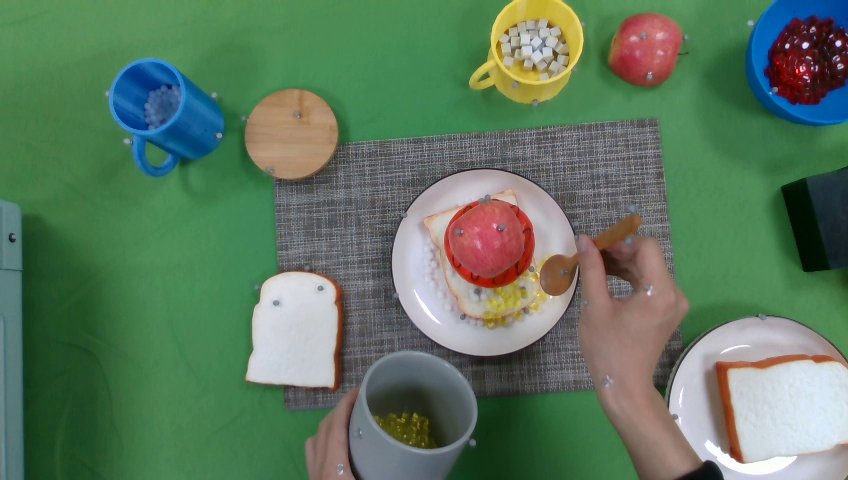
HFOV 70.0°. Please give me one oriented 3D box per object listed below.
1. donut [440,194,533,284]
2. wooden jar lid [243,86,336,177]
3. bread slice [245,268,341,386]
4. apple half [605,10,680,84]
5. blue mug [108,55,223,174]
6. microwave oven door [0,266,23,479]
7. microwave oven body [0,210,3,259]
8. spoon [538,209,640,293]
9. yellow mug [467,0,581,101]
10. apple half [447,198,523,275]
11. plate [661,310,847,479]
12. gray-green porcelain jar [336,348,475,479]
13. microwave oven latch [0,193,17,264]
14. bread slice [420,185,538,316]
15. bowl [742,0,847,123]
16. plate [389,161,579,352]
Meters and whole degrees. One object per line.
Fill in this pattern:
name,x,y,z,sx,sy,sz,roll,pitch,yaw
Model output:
donut,0.067,-0.001,0.647,0.099,0.048,0.099,0,85,3
wooden jar lid,-0.154,-0.124,0.704,0.108,0.021,0.108,0,82,3
bread slice,-0.147,0.097,0.687,0.105,0.019,0.131,3,86,2
apple half,0.249,-0.223,0.682,0.074,0.053,0.080,18,86,6
blue mug,-0.287,-0.129,0.670,0.082,0.106,0.116,16,86,4
microwave oven door,-0.474,0.196,0.565,0.039,0.244,0.355,-4,85,2
microwave oven body,-0.621,0.165,0.579,0.326,0.260,0.440,-4,86,2
spoon,0.140,0.012,0.538,0.022,0.194,0.041,-4,74,-8
yellow mug,0.106,-0.208,0.680,0.131,0.064,0.099,-28,84,1
apple half,0.063,-0.005,0.611,0.081,0.033,0.081,-1,84,10
plate,0.357,0.179,0.652,0.209,0.038,0.208,0,85,3
gray-green porcelain jar,-0.022,0.181,0.563,0.106,0.105,0.127,25,128,5
microwave oven latch,-0.481,-0.013,0.684,0.030,0.029,0.079,0,86,2
bread slice,0.069,0.016,0.675,0.107,0.018,0.134,-22,85,1
bowl,0.412,-0.193,0.659,0.151,0.077,0.151,0,86,3
plate,0.065,0.018,0.674,0.207,0.039,0.207,0,86,2
